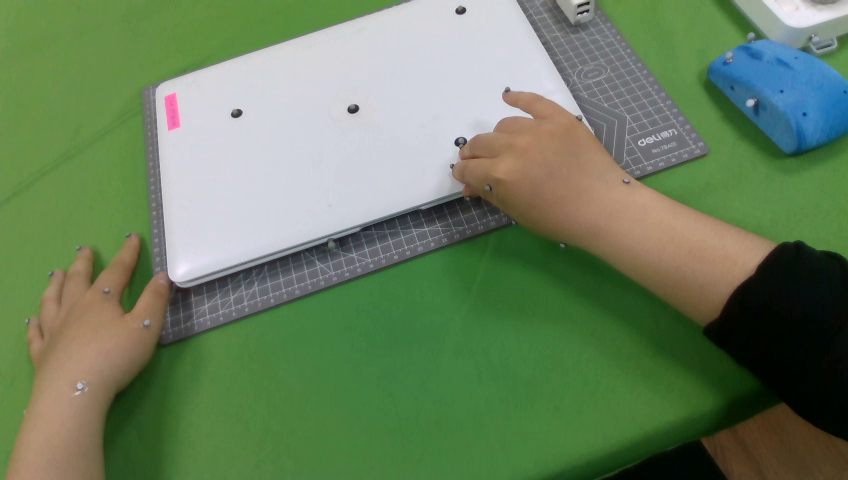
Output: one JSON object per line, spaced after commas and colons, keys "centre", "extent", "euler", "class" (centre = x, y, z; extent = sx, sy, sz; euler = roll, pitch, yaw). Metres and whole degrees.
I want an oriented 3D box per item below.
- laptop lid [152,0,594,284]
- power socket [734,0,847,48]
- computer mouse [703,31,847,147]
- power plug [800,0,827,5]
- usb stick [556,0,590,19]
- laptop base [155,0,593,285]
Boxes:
{"centre": [-0.062, -0.114, 0.527], "extent": [0.357, 0.013, 0.239], "euler": [-18, 60, -1], "class": "laptop lid"}
{"centre": [0.303, -0.261, 0.556], "extent": [0.072, 0.033, 0.224], "euler": [-18, 58, 0], "class": "power socket"}
{"centre": [0.278, -0.126, 0.476], "extent": [0.063, 0.041, 0.116], "euler": [-25, 53, -3], "class": "computer mouse"}
{"centre": [0.348, -0.221, 0.499], "extent": [0.072, 0.053, 0.035], "euler": [-8, 60, 4], "class": "power plug"}
{"centre": [0.135, -0.239, 0.573], "extent": [0.021, 0.027, 0.058], "euler": [-21, 56, 1], "class": "usb stick"}
{"centre": [-0.060, -0.110, 0.539], "extent": [0.354, 0.023, 0.233], "euler": [-19, 61, -2], "class": "laptop base"}
